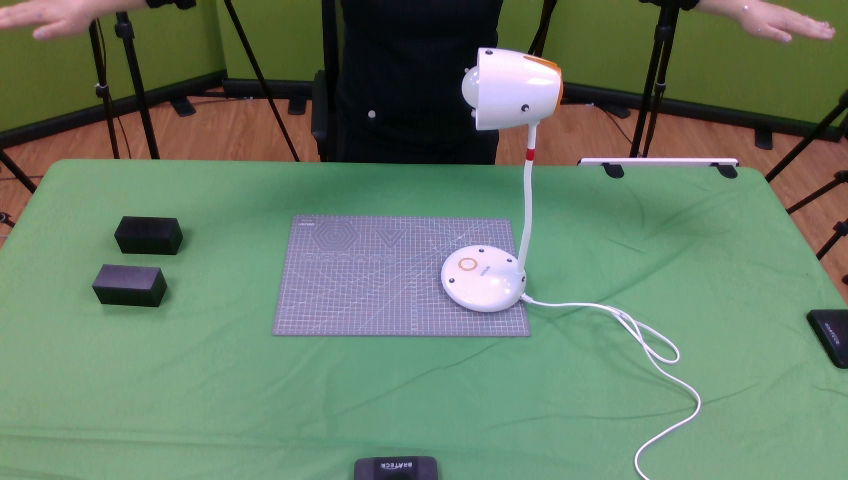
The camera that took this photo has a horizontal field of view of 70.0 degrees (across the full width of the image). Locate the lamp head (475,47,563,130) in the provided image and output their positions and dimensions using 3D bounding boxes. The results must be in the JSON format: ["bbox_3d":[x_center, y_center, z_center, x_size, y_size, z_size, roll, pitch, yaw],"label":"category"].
[{"bbox_3d":[0.129,-0.206,0.840,0.123,0.113,0.112,5,45,-1],"label":"lamp head"}]

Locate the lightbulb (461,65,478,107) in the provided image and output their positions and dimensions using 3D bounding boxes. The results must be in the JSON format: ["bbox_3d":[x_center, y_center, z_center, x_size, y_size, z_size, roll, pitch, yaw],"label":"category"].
[{"bbox_3d":[0.106,-0.214,0.850,0.108,0.060,0.059,4,45,-3],"label":"lightbulb"}]

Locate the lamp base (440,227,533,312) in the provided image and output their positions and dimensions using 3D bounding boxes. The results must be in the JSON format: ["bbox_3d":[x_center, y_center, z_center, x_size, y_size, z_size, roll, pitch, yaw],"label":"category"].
[{"bbox_3d":[0.126,0.021,1.073,0.179,0.181,0.160,22,49,13],"label":"lamp base"}]
